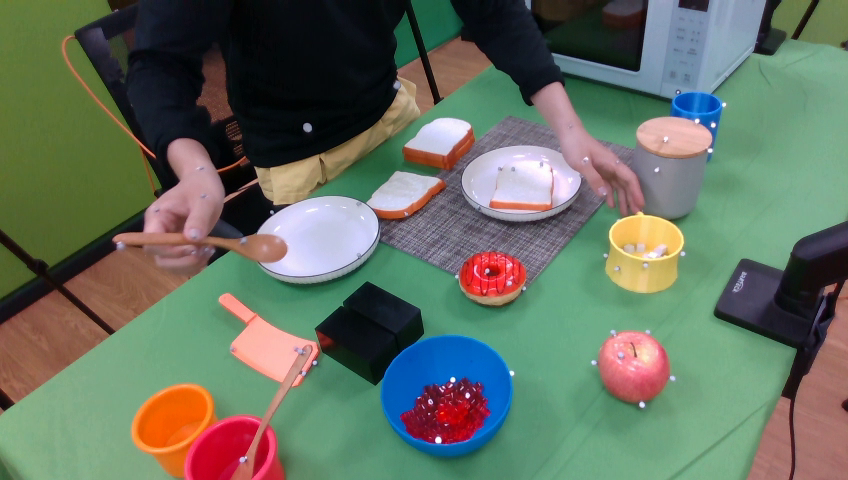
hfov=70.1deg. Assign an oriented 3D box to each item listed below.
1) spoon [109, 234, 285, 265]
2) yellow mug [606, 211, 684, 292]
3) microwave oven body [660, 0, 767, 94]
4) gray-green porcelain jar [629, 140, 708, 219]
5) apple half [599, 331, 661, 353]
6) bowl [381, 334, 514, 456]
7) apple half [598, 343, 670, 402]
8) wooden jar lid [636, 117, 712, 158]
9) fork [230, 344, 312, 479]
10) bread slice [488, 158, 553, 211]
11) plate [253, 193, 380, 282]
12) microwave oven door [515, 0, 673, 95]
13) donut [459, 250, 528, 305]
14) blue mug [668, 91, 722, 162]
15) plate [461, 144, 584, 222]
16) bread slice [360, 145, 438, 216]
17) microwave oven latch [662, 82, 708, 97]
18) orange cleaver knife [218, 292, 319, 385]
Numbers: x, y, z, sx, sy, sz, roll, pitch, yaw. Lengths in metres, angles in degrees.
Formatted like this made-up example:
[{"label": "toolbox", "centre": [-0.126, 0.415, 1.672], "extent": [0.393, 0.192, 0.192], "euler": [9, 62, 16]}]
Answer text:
[{"label": "spoon", "centre": [-0.227, 0.004, 0.630], "extent": [0.021, 0.195, 0.041], "euler": [-37, 65, 27]}, {"label": "yellow mug", "centre": [0.318, 0.008, 0.883], "extent": [0.100, 0.064, 0.130], "euler": [0, 40, 9]}, {"label": "microwave oven body", "centre": [0.474, -0.517, 1.313], "extent": [0.438, 0.261, 0.327], "euler": [26, 51, 34]}, {"label": "gray-green porcelain jar", "centre": [0.383, -0.105, 0.958], "extent": [0.106, 0.127, 0.105], "euler": [-4, 41, 4]}, {"label": "apple half", "centre": [0.249, 0.134, 0.738], "extent": [0.081, 0.081, 0.032], "euler": [-1, 46, 7]}, {"label": "bowl", "centre": [0.029, 0.192, 0.701], "extent": [0.151, 0.077, 0.150], "euler": [-4, 40, 4]}, {"label": "apple half", "centre": [0.247, 0.161, 0.710], "extent": [0.081, 0.075, 0.053], "euler": [2, 47, 5]}, {"label": "wooden jar lid", "centre": [0.377, -0.151, 0.917], "extent": [0.108, 0.021, 0.108], "euler": [-2, 42, 2]}, {"label": "fork", "centre": [-0.173, 0.205, 0.662], "extent": [0.028, 0.019, 0.207], "euler": [29, 94, 35]}, {"label": "bread slice", "centre": [0.172, -0.099, 1.047], "extent": [0.104, 0.019, 0.131], "euler": [5, 43, 13]}, {"label": "plate", "centre": [-0.173, -0.001, 0.985], "extent": [0.209, 0.038, 0.208], "euler": [-3, 40, 3]}, {"label": "microwave oven door", "centre": [0.344, -0.458, 1.256], "extent": [0.353, 0.245, 0.039], "euler": [26, 51, 33]}, {"label": "donut", "centre": [0.100, 0.053, 0.872], "extent": [0.099, 0.048, 0.098], "euler": [-5, 40, 4]}, {"label": "blue mug", "centre": [0.474, -0.206, 1.079], "extent": [0.082, 0.106, 0.116], "euler": [4, 42, 13]}, {"label": "plate", "centre": [0.168, -0.095, 1.040], "extent": [0.207, 0.039, 0.206], "euler": [-4, 40, 4]}, {"label": "bread slice", "centre": [-0.053, -0.103, 1.046], "extent": [0.106, 0.018, 0.134], "euler": [19, 67, 22]}, {"label": "microwave oven latch", "centre": [0.517, -0.298, 1.203], "extent": [0.078, 0.029, 0.030], "euler": [28, 53, 35]}, {"label": "orange cleaver knife", "centre": [-0.235, 0.136, 0.850], "extent": [0.209, 0.012, 0.077], "euler": [25, 56, 30]}]
